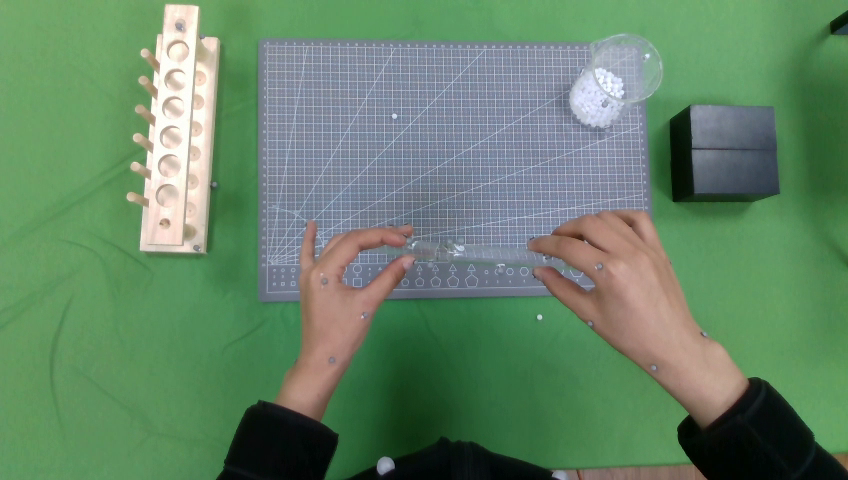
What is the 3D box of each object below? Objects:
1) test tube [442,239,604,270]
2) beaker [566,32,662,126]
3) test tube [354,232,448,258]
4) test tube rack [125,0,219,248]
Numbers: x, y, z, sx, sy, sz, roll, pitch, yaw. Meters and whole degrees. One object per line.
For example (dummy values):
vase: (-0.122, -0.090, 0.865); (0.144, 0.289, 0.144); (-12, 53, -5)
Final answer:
test tube: (0.086, 0.013, 0.499); (0.151, 0.017, 0.017); (5, 83, -22)
beaker: (0.201, -0.174, 0.668); (0.084, 0.100, 0.074); (37, 82, 2)
test tube: (-0.026, 0.003, 0.543); (0.017, 0.149, 0.017); (-3, 95, -32)
test tube rack: (-0.266, -0.116, 0.632); (0.067, 0.085, 0.241); (2, 84, -4)
